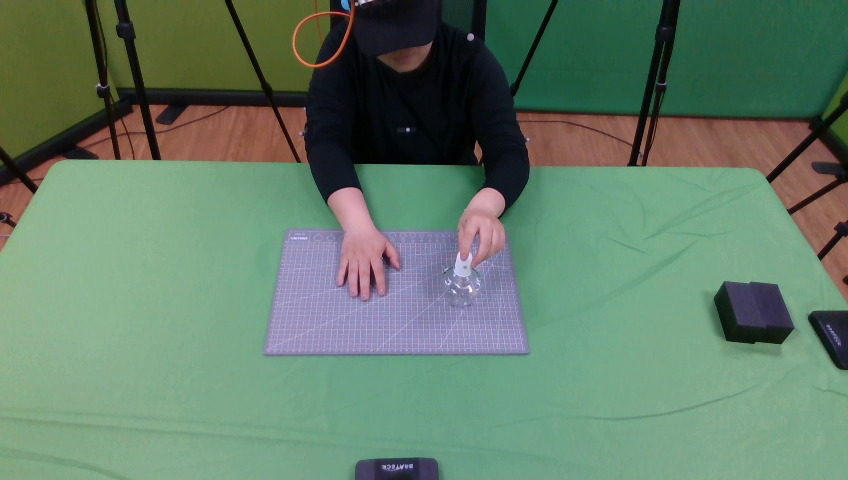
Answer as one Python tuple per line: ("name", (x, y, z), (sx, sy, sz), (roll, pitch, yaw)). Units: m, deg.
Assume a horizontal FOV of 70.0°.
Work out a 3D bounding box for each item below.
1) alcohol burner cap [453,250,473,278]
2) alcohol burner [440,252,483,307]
("alcohol burner cap", (0.068, 0.039, 1.050), (0.034, 0.048, 0.033), (3, 41, -3))
("alcohol burner", (0.068, 0.064, 1.076), (0.078, 0.120, 0.077), (1, 45, -1))
